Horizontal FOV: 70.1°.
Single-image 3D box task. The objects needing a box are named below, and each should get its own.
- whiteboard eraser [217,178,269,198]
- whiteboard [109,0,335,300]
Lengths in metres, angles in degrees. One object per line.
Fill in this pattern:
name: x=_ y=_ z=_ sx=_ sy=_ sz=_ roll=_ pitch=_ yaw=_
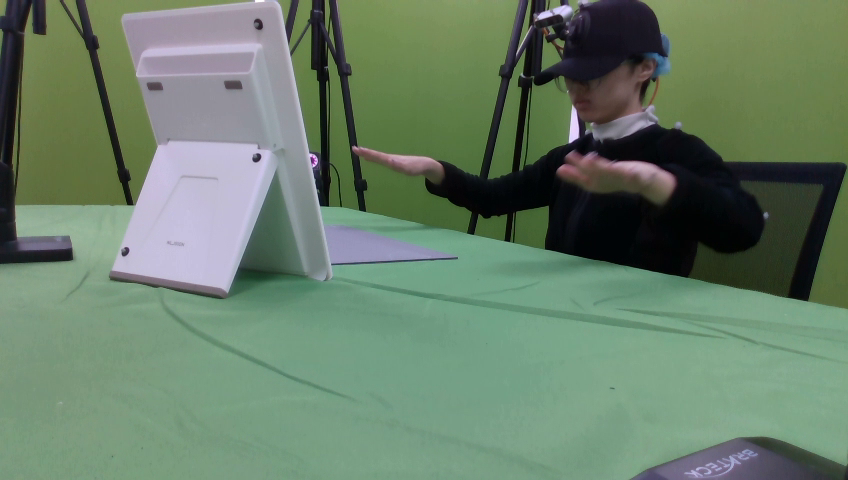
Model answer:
whiteboard eraser: x=-0.389 y=-0.113 z=1.304 sx=0.055 sy=0.042 sz=0.113 roll=4 pitch=7 yaw=20
whiteboard: x=-0.247 y=-0.072 z=0.624 sx=0.216 sy=0.305 sz=0.144 roll=6 pitch=28 yaw=26
